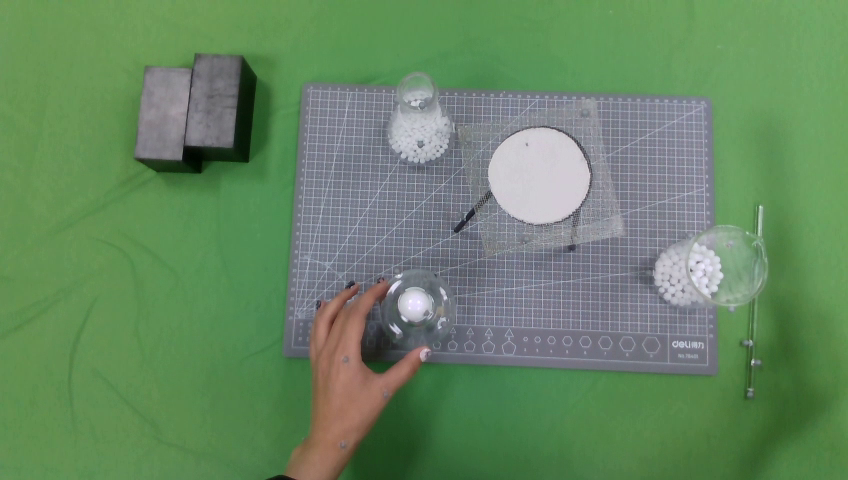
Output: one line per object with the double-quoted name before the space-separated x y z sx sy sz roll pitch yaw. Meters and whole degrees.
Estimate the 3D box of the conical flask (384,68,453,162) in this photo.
"conical flask" -0.007 -0.129 0.604 0.075 0.122 0.075 0 81 1

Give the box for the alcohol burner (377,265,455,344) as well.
"alcohol burner" -0.009 0.060 0.583 0.078 0.119 0.077 0 80 3

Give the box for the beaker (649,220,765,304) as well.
"beaker" 0.272 0.024 0.591 0.084 0.100 0.074 -34 83 -5

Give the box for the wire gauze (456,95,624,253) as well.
"wire gauze" 0.099 -0.056 0.519 0.125 0.011 0.121 -10 82 0

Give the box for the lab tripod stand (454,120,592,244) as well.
"lab tripod stand" 0.099 -0.048 0.586 0.148 0.132 0.148 0 84 2

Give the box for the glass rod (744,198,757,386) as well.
"glass rod" 0.344 0.052 0.636 0.008 0.008 0.199 6 82 1

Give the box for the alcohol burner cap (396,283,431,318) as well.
"alcohol burner cap" -0.010 0.054 0.547 0.034 0.048 0.034 0 86 -2
